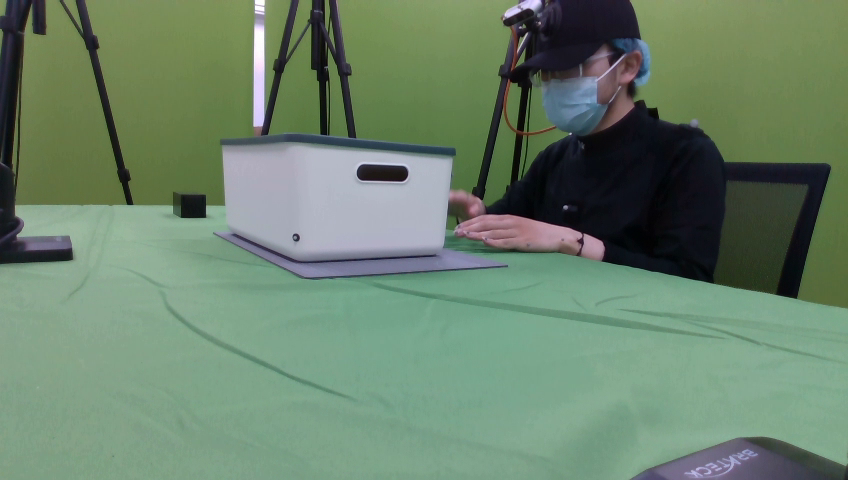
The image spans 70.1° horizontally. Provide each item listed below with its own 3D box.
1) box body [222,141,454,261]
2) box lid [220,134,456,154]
[{"bbox_3d":[-0.152,-0.074,0.963,0.255,0.160,0.362,-3,9,-33],"label":"box body"},{"bbox_3d":[-0.148,-0.147,0.951,0.265,0.015,0.369,-2,8,-33],"label":"box lid"}]
